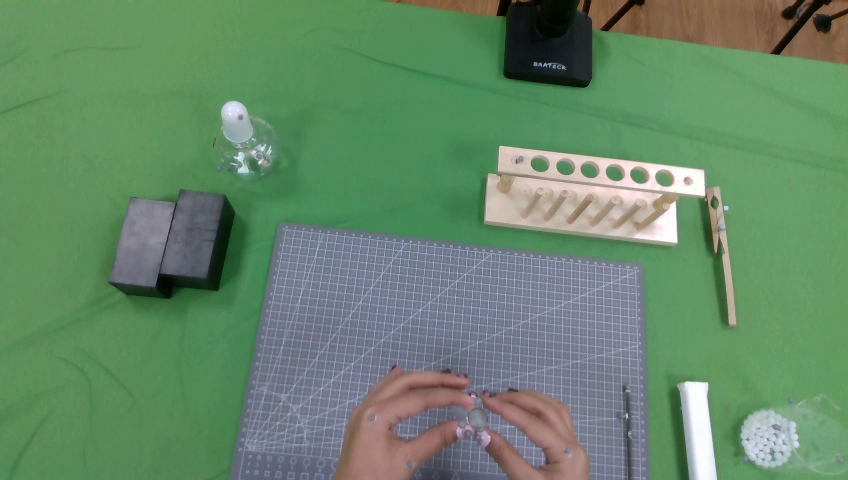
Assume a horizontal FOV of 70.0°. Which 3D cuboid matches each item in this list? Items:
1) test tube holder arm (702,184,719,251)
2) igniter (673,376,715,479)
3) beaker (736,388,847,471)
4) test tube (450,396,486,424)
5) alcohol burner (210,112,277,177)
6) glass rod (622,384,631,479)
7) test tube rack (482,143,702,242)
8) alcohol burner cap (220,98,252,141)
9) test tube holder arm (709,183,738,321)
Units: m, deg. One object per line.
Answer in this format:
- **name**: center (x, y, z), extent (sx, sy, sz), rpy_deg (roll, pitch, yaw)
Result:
- **test tube holder arm**: center (0.368, -0.029, 0.776), extent (0.010, 0.015, 0.087), rpy_deg (-11, 69, 28)
- **igniter**: center (0.302, 0.288, 0.656), extent (0.057, 0.025, 0.274), rpy_deg (6, 71, -14)
- **beaker**: center (0.395, 0.205, 0.655), extent (0.074, 0.101, 0.083), rpy_deg (19, 70, 2)
- **test tube**: center (0.036, 0.145, 0.522), extent (0.017, 0.150, 0.017), rpy_deg (1, 78, -2)
- **alcohol burner**: center (-0.212, -0.123, 0.702), extent (0.078, 0.120, 0.077), rpy_deg (1, 69, -3)
- **glass rod**: center (0.223, 0.259, 0.665), extent (0.008, 0.008, 0.198), rpy_deg (6, 70, -3)
- **test tube rack**: center (0.198, -0.055, 0.733), extent (0.242, 0.085, 0.066), rpy_deg (6, 70, -3)
- **alcohol burner cap**: center (-0.209, -0.136, 0.669), extent (0.034, 0.048, 0.033), rpy_deg (4, 65, -9)
- **test tube holder arm**: center (0.374, 0.013, 0.760), extent (0.013, 0.015, 0.177), rpy_deg (-12, 69, 28)
